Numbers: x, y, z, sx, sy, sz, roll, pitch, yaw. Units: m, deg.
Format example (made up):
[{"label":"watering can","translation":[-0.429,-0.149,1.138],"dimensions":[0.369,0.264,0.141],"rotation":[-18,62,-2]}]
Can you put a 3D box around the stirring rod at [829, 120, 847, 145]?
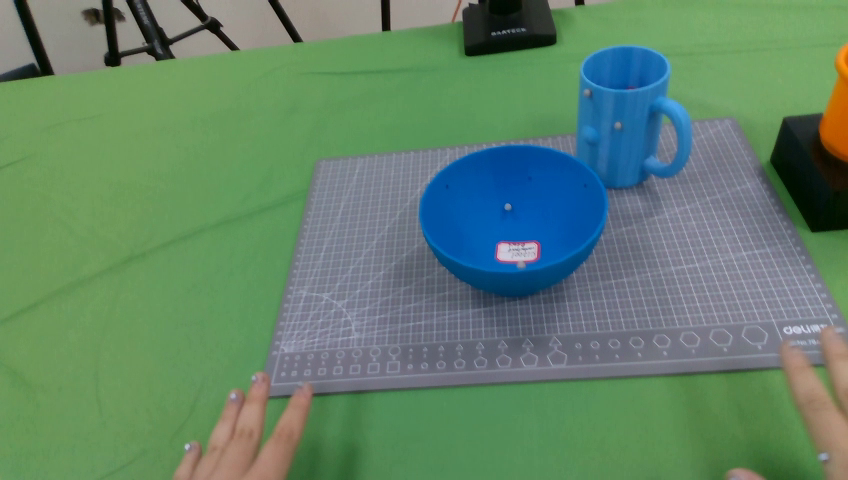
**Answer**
[{"label":"stirring rod","translation":[0.392,-0.138,0.461],"dimensions":[0.176,0.006,0.014],"rotation":[-46,40,27]}]

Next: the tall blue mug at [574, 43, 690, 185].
[{"label":"tall blue mug","translation":[0.195,-0.112,0.562],"dimensions":[0.106,0.109,0.077],"rotation":[14,51,23]}]

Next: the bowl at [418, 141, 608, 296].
[{"label":"bowl","translation":[0.074,-0.006,0.507],"dimensions":[0.151,0.077,0.150],"rotation":[-5,46,6]}]
